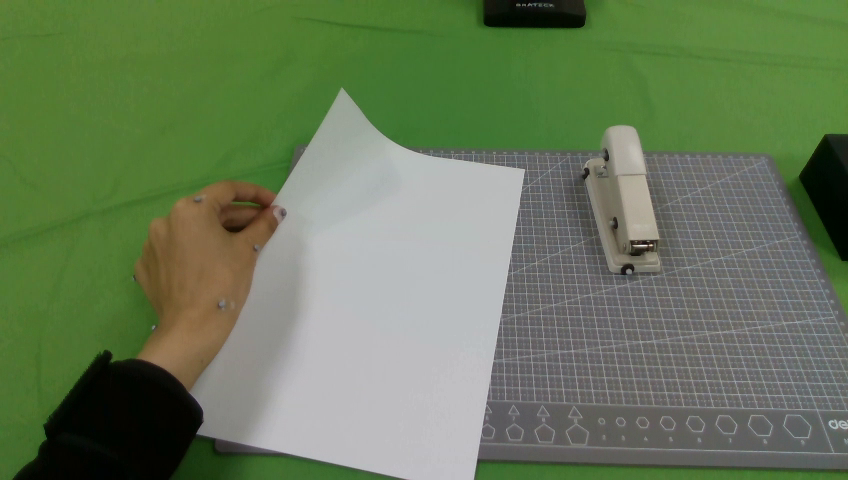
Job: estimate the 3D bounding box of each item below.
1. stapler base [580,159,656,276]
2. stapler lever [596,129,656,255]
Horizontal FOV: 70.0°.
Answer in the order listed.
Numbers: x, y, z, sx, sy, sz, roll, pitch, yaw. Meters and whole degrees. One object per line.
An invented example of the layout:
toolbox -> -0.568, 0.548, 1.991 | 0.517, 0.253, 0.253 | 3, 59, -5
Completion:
stapler base -> 0.164, -0.028, 0.516 | 0.041, 0.024, 0.129 | -2, 52, 1
stapler lever -> 0.165, -0.043, 0.495 | 0.027, 0.040, 0.117 | -3, 52, 1
